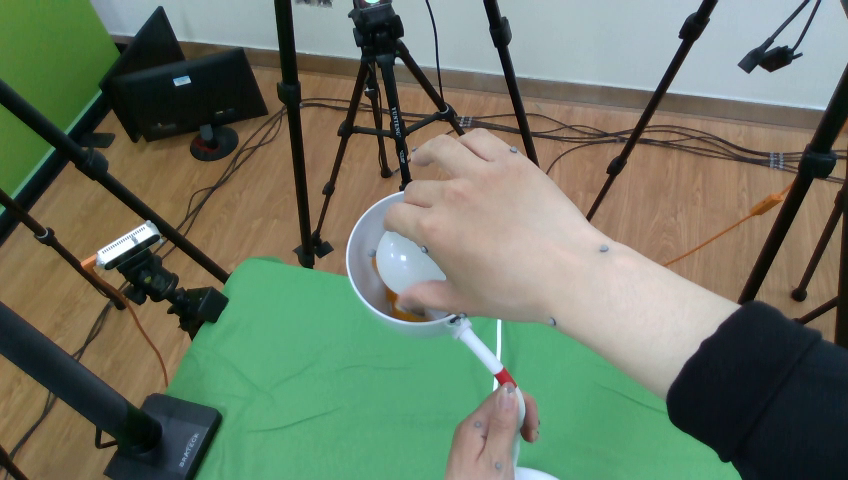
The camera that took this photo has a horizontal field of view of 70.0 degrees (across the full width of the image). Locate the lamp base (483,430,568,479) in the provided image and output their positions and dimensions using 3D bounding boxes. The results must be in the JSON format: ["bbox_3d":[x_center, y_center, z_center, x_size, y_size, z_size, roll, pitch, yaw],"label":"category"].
[{"bbox_3d":[0.109,0.286,0.644,0.161,0.182,0.177,-23,52,-10],"label":"lamp base"}]

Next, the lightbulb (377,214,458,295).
[{"bbox_3d":[-0.004,0.019,0.468,0.059,0.108,0.059,-1,69,2],"label":"lightbulb"}]

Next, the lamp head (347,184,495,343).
[{"bbox_3d":[0.003,0.033,0.497,0.112,0.124,0.111,-3,61,5],"label":"lamp head"}]
